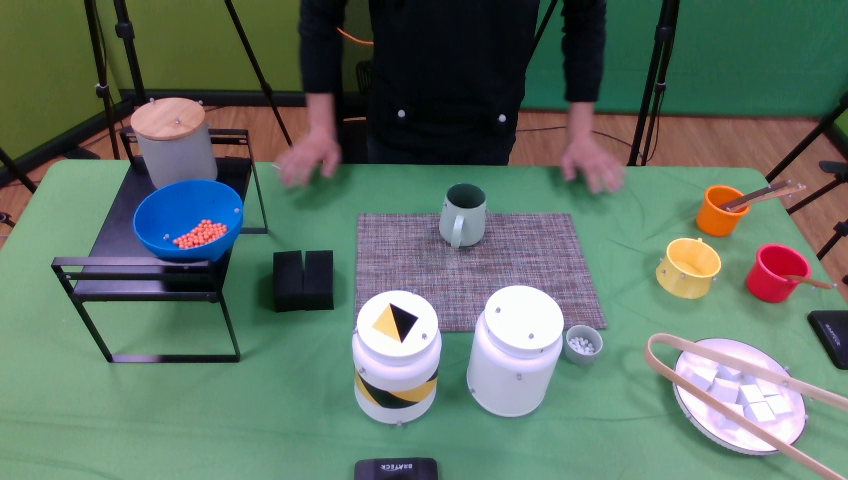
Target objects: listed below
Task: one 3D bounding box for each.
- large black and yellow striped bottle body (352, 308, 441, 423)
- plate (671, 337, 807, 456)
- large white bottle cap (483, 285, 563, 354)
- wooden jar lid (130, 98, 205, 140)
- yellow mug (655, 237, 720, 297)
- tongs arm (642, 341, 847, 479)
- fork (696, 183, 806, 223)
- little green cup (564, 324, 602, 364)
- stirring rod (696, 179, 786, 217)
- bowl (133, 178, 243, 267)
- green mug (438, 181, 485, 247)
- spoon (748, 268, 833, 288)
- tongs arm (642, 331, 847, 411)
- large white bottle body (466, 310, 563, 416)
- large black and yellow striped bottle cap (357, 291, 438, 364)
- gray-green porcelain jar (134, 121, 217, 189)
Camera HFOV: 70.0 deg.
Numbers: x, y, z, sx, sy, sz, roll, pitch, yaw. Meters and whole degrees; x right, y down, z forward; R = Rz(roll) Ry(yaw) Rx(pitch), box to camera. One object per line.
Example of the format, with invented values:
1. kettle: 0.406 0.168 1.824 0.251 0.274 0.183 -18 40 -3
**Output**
1. large black and yellow striped bottle body: -0.042 0.177 0.913 0.131 0.185 0.130 2 46 -2
2. plate: 0.503 0.254 0.984 0.208 0.039 0.206 2 46 -2
3. large white bottle cap: 0.142 0.112 0.871 0.115 0.018 0.114 3 46 -2
4. wooden jar lid: -0.393 -0.183 0.934 0.108 0.021 0.107 3 44 -2
5. yellow mug: 0.509 0.041 1.167 0.099 0.064 0.130 24 48 18
6. tongs arm: 0.504 0.278 0.918 0.386 0.028 0.028 34 59 22
7. fork: 0.658 -0.075 1.229 0.207 0.019 0.028 -24 36 36
8. little green cup: 0.269 0.179 1.035 0.061 0.039 0.061 2 45 -2
9. stirring rod: 0.648 -0.086 1.243 0.176 0.006 0.014 -25 48 29
10. bowl: -0.339 -0.013 0.895 0.151 0.077 0.150 2 46 -2
11. green mug: 0.071 -0.039 1.177 0.092 0.105 0.124 12 47 7
12. spoon: 0.660 0.068 1.097 0.041 0.193 0.021 -4 91 -6
13. tongs arm: 0.546 0.227 0.968 0.384 0.026 0.050 22 52 13
14. large white bottle body: 0.138 0.171 0.932 0.131 0.185 0.130 2 46 -2
15. large black and yellow striped bottle cap: -0.037 0.121 0.851 0.115 0.019 0.114 1 46 -1
16. gray-green porcelain jar: -0.397 -0.141 0.980 0.106 0.127 0.105 2 47 -2
